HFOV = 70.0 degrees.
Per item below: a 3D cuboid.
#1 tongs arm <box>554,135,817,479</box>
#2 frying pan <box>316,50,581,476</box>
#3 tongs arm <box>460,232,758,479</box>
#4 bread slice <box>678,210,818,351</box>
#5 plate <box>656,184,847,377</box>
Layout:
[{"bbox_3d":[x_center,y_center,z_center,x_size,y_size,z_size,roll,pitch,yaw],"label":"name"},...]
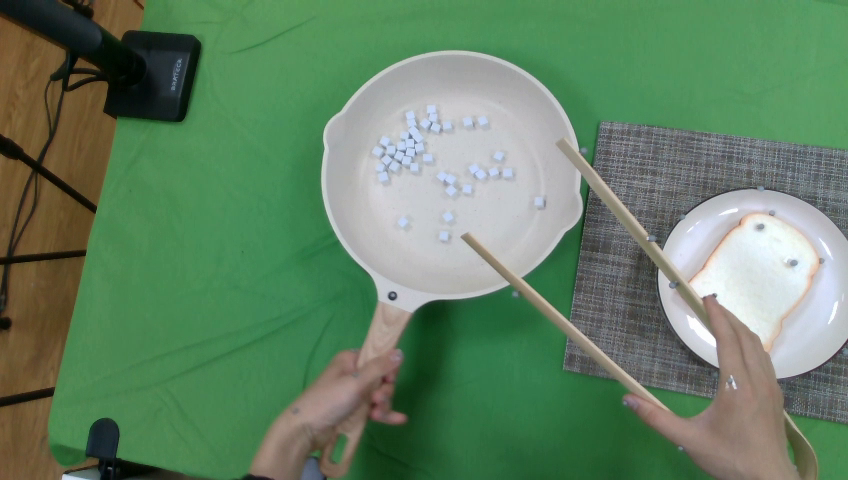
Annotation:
[{"bbox_3d":[0.230,0.068,0.542,0.051,0.026,0.385,-43,95,-11],"label":"tongs arm"},{"bbox_3d":[-0.011,0.018,0.674,0.306,0.103,0.486,20,72,10],"label":"frying pan"},{"bbox_3d":[0.183,0.114,0.532,0.388,0.028,0.028,39,76,-6],"label":"tongs arm"},{"bbox_3d":[0.357,0.035,0.663,0.106,0.018,0.134,33,88,11],"label":"bread slice"},{"bbox_3d":[0.359,0.043,0.659,0.207,0.039,0.207,-1,80,8],"label":"plate"}]
